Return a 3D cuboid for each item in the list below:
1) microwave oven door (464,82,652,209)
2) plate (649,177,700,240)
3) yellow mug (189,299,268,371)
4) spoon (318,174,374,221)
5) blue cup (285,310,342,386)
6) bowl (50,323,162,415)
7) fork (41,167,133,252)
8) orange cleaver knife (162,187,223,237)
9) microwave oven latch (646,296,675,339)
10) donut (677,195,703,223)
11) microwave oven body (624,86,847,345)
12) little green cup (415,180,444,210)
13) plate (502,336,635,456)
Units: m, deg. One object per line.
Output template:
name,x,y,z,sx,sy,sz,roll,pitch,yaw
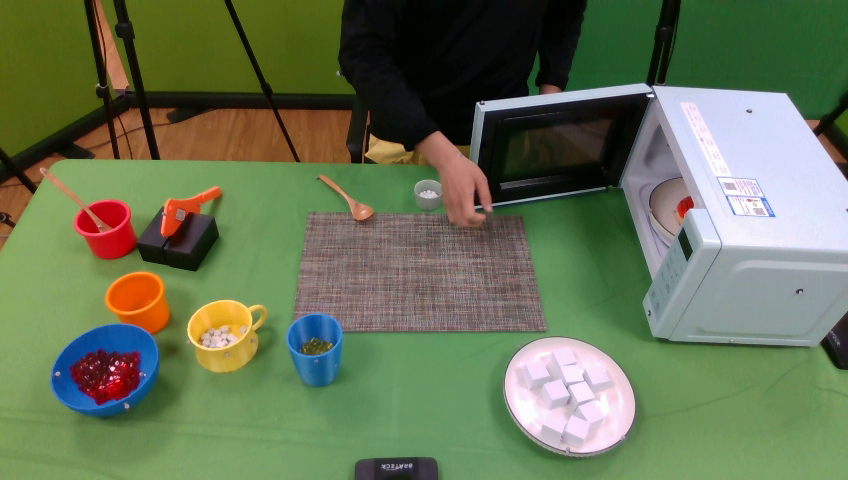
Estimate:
microwave oven door,0.264,-0.188,1.221,0.356,0.245,0.039,-9,47,-13
plate,0.543,-0.044,1.181,0.209,0.038,0.208,2,46,-2
yellow mug,-0.316,0.148,1.002,0.131,0.064,0.099,-32,56,-31
spoon,-0.168,-0.094,1.274,0.041,0.022,0.192,-39,57,-14
blue cup,-0.170,0.179,0.958,0.093,0.101,0.092,2,44,-1
bowl,-0.472,0.209,0.924,0.151,0.077,0.150,3,45,-2
fork,-0.624,-0.056,1.121,0.208,0.018,0.028,50,51,-15
orange cleaver knife,-0.448,-0.058,1.181,0.012,0.077,0.211,13,17,6
microwave oven latch,0.412,0.134,1.061,0.030,0.029,0.078,4,45,1
donut,0.540,-0.048,1.170,0.099,0.048,0.098,3,45,-3
microwave oven body,0.568,-0.053,1.118,0.326,0.261,0.439,2,45,-1
little green cup,0.010,-0.094,1.278,0.061,0.039,0.061,3,48,-3
plate,0.225,0.248,0.963,0.208,0.039,0.206,2,46,-2
